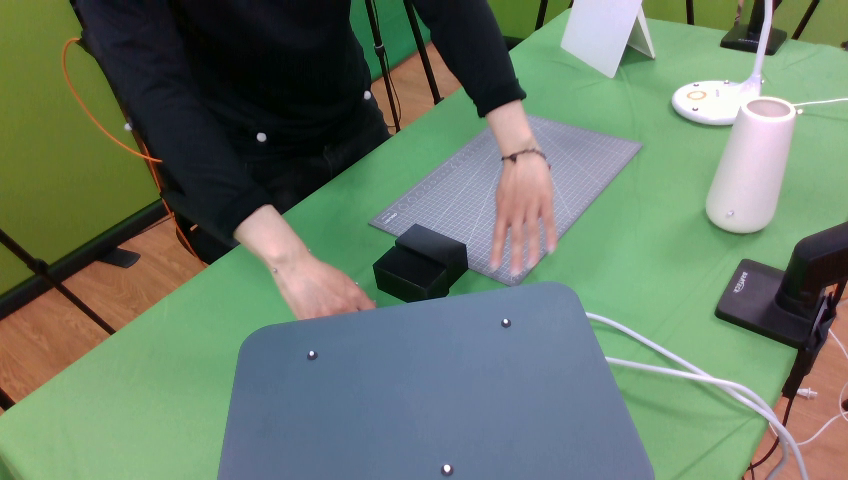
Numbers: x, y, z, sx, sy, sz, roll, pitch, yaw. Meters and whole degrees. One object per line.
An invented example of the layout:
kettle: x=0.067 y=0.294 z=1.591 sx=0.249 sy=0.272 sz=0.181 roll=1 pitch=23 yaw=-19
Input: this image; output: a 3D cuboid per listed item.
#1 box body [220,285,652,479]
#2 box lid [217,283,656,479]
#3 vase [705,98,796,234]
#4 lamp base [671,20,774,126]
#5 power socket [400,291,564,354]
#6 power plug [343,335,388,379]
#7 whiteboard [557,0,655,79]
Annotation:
box body: x=0.005 y=0.211 z=0.616 sx=0.364 sy=0.161 sz=0.252 roll=-9 pitch=40 yaw=-2
box lid: x=-0.004 y=0.155 z=0.568 sx=0.372 sy=0.015 sz=0.261 roll=-8 pitch=39 yaw=-2
vase: x=0.480 y=-0.104 z=0.889 sx=0.098 sy=0.201 sz=0.097 roll=-4 pitch=42 yaw=4
lamp base: x=0.581 y=-0.332 z=1.154 sx=0.179 sy=0.181 sz=0.160 roll=2 pitch=42 yaw=7
power socket: x=0.079 y=0.111 z=0.823 sx=0.227 sy=0.033 sz=0.072 roll=-5 pitch=41 yaw=2
power plug: x=-0.078 y=0.159 z=0.809 sx=0.035 sy=0.072 sz=0.053 roll=-42 pitch=-1 yaw=17
whiteboard: x=0.462 y=-0.542 z=1.367 sx=0.145 sy=0.306 sz=0.215 roll=-3 pitch=36 yaw=-25
